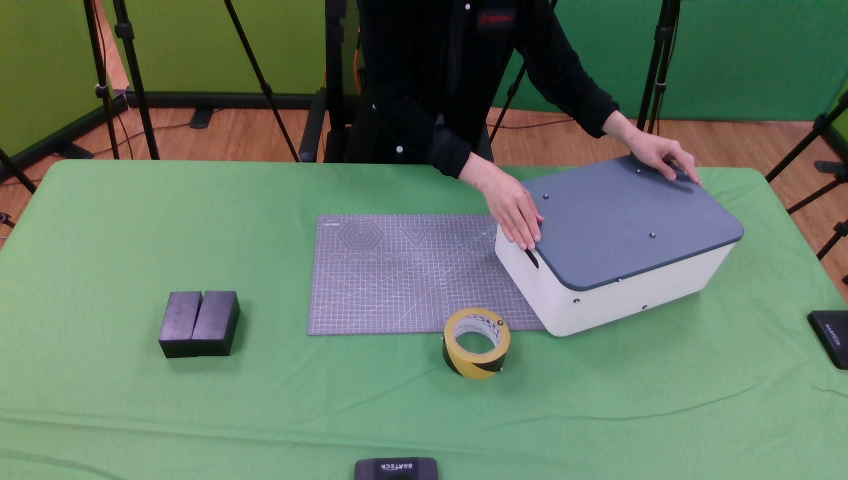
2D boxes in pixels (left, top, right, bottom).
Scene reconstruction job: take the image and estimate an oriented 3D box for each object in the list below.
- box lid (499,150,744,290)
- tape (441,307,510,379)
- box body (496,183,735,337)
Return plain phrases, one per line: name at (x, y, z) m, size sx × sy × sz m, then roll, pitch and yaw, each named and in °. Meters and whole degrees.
box lid at (0.341, -0.049, 1.065) m, size 0.372 × 0.015 × 0.261 m, roll -15°, pitch 48°, yaw -18°
tape at (0.087, 0.172, 1.014) m, size 0.117 × 0.053 × 0.116 m, roll 2°, pitch 48°, yaw -2°
box body at (0.340, 0.003, 1.118) m, size 0.364 × 0.161 × 0.252 m, roll -15°, pitch 49°, yaw -18°
